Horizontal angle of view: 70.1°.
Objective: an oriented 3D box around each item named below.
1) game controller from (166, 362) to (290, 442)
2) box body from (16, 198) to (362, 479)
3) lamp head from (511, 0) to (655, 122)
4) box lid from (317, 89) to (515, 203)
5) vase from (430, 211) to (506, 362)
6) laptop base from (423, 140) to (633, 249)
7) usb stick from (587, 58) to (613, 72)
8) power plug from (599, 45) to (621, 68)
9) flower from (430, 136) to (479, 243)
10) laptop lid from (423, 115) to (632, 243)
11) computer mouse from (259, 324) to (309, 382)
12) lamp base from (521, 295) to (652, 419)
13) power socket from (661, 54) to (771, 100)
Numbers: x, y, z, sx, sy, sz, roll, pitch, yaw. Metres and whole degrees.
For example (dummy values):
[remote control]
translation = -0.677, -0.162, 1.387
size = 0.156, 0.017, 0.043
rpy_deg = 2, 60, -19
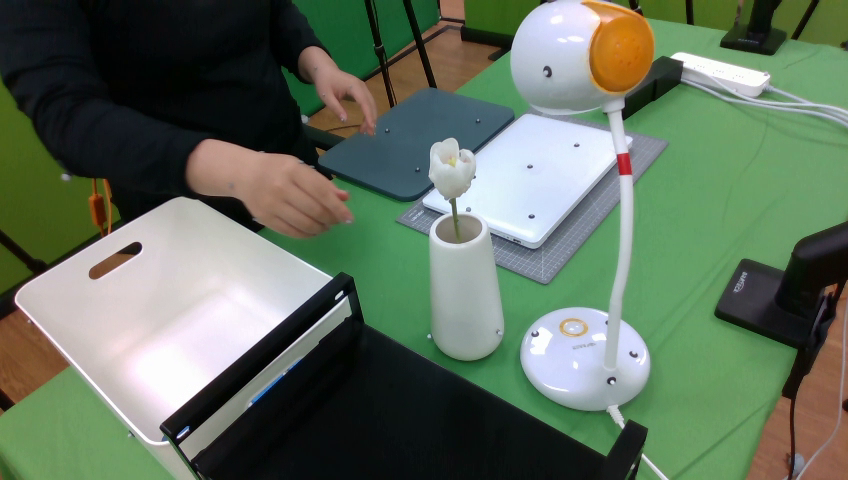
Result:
[game controller]
translation = -0.233, 0.210, 0.737
size = 0.096, 0.052, 0.155
rpy_deg = 27, 52, 32
[box body]
translation = -0.285, 0.123, 0.766
size = 0.361, 0.161, 0.255
rpy_deg = 25, 49, 33
[lamp head]
translation = 0.155, -0.168, 0.563
size = 0.113, 0.113, 0.122
rpy_deg = -18, 23, -12
[box lid]
translation = -0.009, -0.207, 1.236
size = 0.261, 0.015, 0.372
rpy_deg = 23, 49, 32
[vase]
translation = 0.053, 0.062, 0.758
size = 0.098, 0.201, 0.097
rpy_deg = -3, 40, 3
[laptop base]
translation = 0.194, -0.117, 1.087
size = 0.233, 0.023, 0.355
rpy_deg = 20, 47, 34
[usb stick]
translation = 0.401, -0.399, 1.380
size = 0.059, 0.027, 0.021
rpy_deg = 1, 48, 21
[power plug]
translation = 0.437, -0.422, 1.412
size = 0.053, 0.035, 0.072
rpy_deg = -18, 74, -47
[flower]
translation = 0.041, 0.011, 0.691
size = 0.044, 0.363, 0.038
rpy_deg = 16, 63, 14
[laptop lid]
translation = 0.190, -0.126, 1.081
size = 0.239, 0.013, 0.358
rpy_deg = 23, 48, 34
[computer mouse]
translation = -0.158, 0.154, 0.791
size = 0.116, 0.041, 0.063
rpy_deg = 30, 50, 24
[lamp base]
translation = 0.201, 0.095, 0.710
size = 0.161, 0.181, 0.177
rpy_deg = -16, 43, -10
[power socket]
translation = 0.615, -0.348, 1.285
size = 0.072, 0.033, 0.225
rpy_deg = -36, 48, -29
